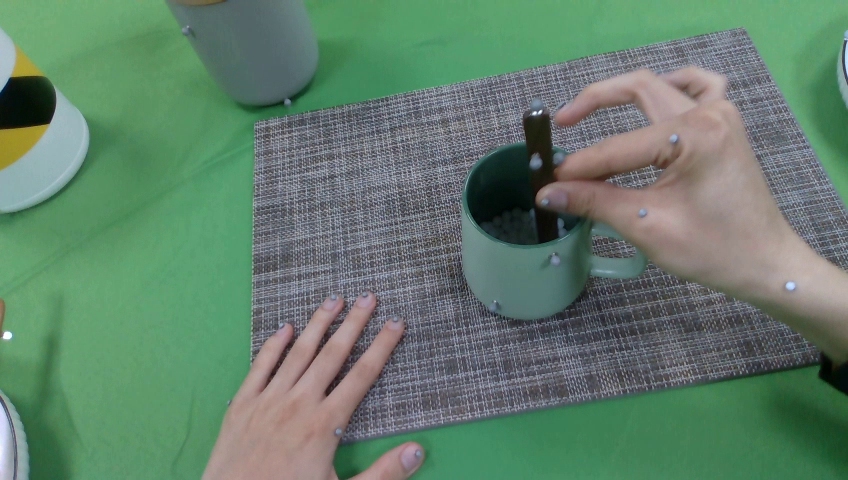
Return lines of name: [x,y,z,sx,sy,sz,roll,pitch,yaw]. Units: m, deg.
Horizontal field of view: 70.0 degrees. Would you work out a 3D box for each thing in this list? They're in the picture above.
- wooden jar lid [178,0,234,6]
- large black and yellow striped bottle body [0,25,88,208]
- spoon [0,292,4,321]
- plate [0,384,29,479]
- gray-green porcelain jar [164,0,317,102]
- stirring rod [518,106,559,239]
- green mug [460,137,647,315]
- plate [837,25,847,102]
wooden jar lid: [-0.166,-0.226,0.482,0.108,0.021,0.107,-3,64,6]
large black and yellow striped bottle body: [-0.390,-0.125,0.497,0.130,0.185,0.129,-3,61,7]
spoon: [-0.310,0.125,0.417,0.041,0.022,0.192,-8,69,2]
plate: [-0.365,0.184,0.411,0.209,0.038,0.207,-3,61,6]
gray-green porcelain jar: [-0.158,-0.196,0.536,0.106,0.127,0.105,-3,61,6]
stirring rod: [0.073,-0.022,0.366,0.014,0.178,0.005,-11,60,10]
green mug: [0.084,-0.004,0.406,0.125,0.106,0.092,9,63,13]
plate: [0.426,-0.121,0.462,0.207,0.039,0.206,-4,61,7]
